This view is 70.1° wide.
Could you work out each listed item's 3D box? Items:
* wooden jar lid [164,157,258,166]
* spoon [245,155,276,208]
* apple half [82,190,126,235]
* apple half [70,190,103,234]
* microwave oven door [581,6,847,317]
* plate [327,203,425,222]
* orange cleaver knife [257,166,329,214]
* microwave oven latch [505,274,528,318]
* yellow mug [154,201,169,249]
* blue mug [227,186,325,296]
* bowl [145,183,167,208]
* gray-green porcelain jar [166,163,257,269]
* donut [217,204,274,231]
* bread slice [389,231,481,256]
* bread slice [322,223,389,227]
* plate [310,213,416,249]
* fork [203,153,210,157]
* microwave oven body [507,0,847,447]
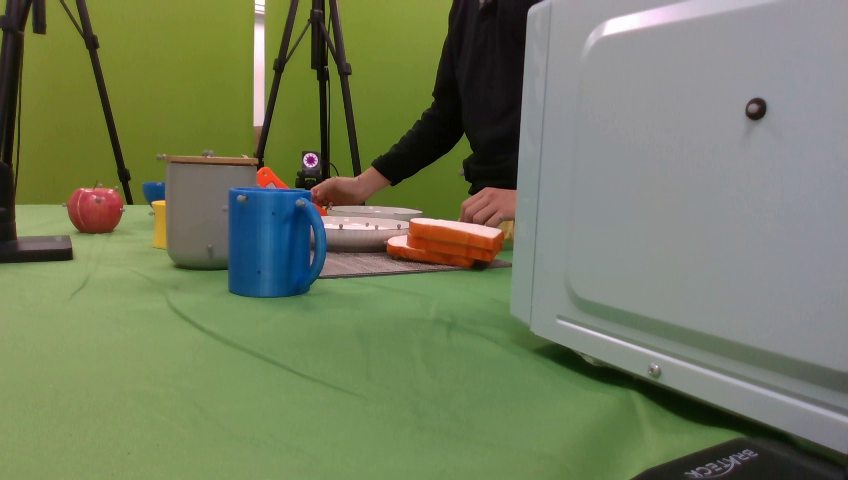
[{"bbox_3d":[-0.261,-0.093,0.746,0.108,0.020,0.108,1,9,0],"label":"wooden jar lid"},{"bbox_3d":[-0.421,-0.150,1.540,0.042,0.021,0.193,-5,55,-37],"label":"spoon"},{"bbox_3d":[-0.516,-0.046,0.994,0.032,0.081,0.081,0,6,26],"label":"apple half"},{"bbox_3d":[-0.552,-0.047,1.009,0.053,0.074,0.081,-1,9,26],"label":"apple half"},{"bbox_3d":[0.295,-0.067,0.569,0.358,0.243,0.039,-3,8,-31],"label":"microwave oven door"},{"bbox_3d":[-0.102,-0.053,1.299,0.209,0.038,0.209,2,8,0],"label":"plate"},{"bbox_3d":[-0.293,-0.086,1.330,0.212,0.077,0.012,34,-14,-39],"label":"orange cleaver knife"},{"bbox_3d":[0.100,0.041,0.471,0.079,0.029,0.030,-1,8,-28],"label":"microwave oven latch"},{"bbox_3d":[-0.337,-0.022,0.899,0.130,0.064,0.100,8,9,34],"label":"yellow mug"},{"bbox_3d":[-0.147,0.000,0.618,0.116,0.106,0.083,7,9,32],"label":"blue mug"},{"bbox_3d":[-0.459,-0.068,1.175,0.151,0.077,0.151,2,7,0],"label":"bowl"},{"bbox_3d":[-0.263,-0.031,0.754,0.106,0.126,0.106,2,7,0],"label":"gray-green porcelain jar"},{"bbox_3d":[-0.318,-0.038,1.080,0.099,0.048,0.099,2,7,0],"label":"donut"},{"bbox_3d":[0.016,0.005,0.866,0.131,0.019,0.105,4,8,8],"label":"bread slice"},{"bbox_3d":[-0.116,-0.014,0.975,0.135,0.018,0.106,-6,11,-42],"label":"bread slice"},{"bbox_3d":[-0.117,-0.014,0.967,0.208,0.039,0.207,2,8,0],"label":"plate"},{"bbox_3d":[-0.480,-0.135,1.411,0.028,0.018,0.207,1,-34,-1],"label":"fork"},{"bbox_3d":[0.331,-0.042,0.425,0.444,0.260,0.324,-2,8,-31],"label":"microwave oven body"}]
